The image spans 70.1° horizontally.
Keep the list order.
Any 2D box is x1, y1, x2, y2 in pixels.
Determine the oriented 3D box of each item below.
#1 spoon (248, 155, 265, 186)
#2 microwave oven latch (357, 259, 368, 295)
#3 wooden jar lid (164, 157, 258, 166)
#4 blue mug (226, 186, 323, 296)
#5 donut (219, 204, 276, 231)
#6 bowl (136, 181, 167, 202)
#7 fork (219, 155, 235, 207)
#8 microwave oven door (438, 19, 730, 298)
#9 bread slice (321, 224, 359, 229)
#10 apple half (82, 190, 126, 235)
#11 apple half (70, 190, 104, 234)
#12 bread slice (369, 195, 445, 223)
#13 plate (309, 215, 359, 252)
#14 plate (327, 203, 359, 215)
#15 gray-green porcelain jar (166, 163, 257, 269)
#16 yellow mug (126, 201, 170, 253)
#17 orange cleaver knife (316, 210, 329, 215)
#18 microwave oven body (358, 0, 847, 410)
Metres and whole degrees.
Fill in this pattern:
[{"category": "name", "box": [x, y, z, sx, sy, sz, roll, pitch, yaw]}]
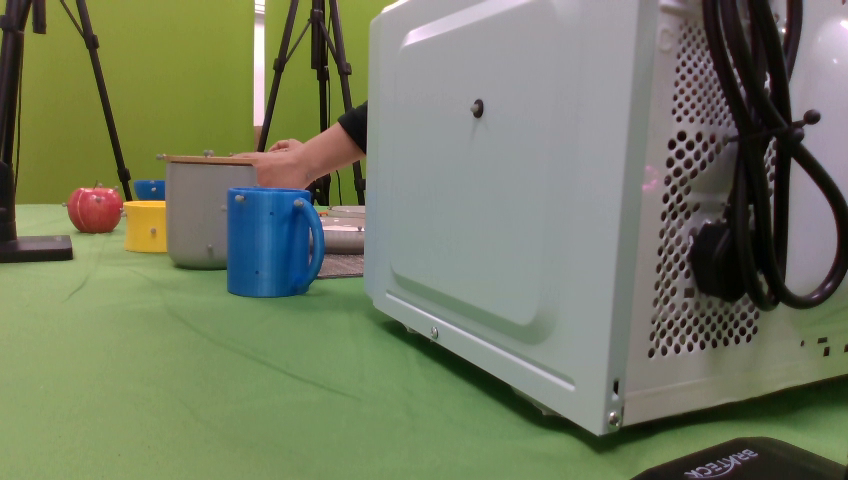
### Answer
[{"category": "spoon", "box": [-0.417, -0.150, 1.543, 0.042, 0.193, 0.021, -5, -34, -33]}, {"category": "microwave oven latch", "box": [-0.019, 0.031, 0.529, 0.079, 0.029, 0.030, -1, 7, -26]}, {"category": "wooden jar lid", "box": [-0.261, -0.093, 0.746, 0.108, 0.020, 0.108, 1, 9, 0]}, {"category": "blue mug", "box": [-0.148, 0.000, 0.618, 0.116, 0.106, 0.083, 7, 9, 33]}, {"category": "donut", "box": [-0.316, -0.039, 1.083, 0.099, 0.048, 0.099, 3, 7, 0]}, {"category": "bowl", "box": [-0.497, -0.076, 1.221, 0.151, 0.077, 0.151, 2, 8, 0]}, {"category": "fork", "box": [-0.459, -0.134, 1.415, 0.028, 0.018, 0.207, -1, -34, -24]}, {"category": "microwave oven door", "box": [0.181, -0.076, 0.618, 0.358, 0.243, 0.039, -2, 8, -28]}, {"category": "bread slice", "box": [-0.125, -0.009, 0.939, 0.131, 0.019, 0.105, 6, 9, 32]}, {"category": "apple half", "box": [-0.516, -0.046, 0.994, 0.032, 0.081, 0.081, 0, 6, 26]}, {"category": "apple half", "box": [-0.552, -0.047, 1.010, 0.053, 0.074, 0.081, 0, 10, 26]}, {"category": "bread slice", "box": [-0.040, -0.057, 1.142, 0.107, 0.018, 0.133, -9, -8, -40]}, {"category": "plate", "box": [-0.130, -0.011, 0.945, 0.208, 0.039, 0.207, 2, 8, 0]}, {"category": "plate", "box": [-0.102, -0.053, 1.299, 0.209, 0.038, 0.209, 2, 8, 0]}, {"category": "gray-green porcelain jar", "box": [-0.263, -0.031, 0.754, 0.106, 0.126, 0.106, 2, 7, 0]}, {"category": "yellow mug", "box": [-0.361, -0.019, 0.866, 0.130, 0.064, 0.100, 6, 9, 27]}, {"category": "orange cleaver knife", "box": [-0.259, -0.064, 1.423, 0.212, 0.012, 0.077, -4, 3, -30]}, {"category": "microwave oven body", "box": [0.210, -0.051, 0.471, 0.444, 0.260, 0.324, -1, 7, -28]}]
